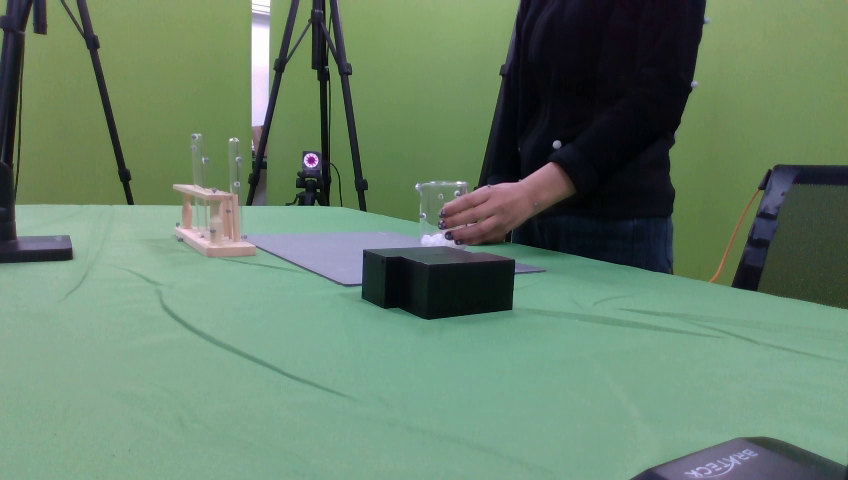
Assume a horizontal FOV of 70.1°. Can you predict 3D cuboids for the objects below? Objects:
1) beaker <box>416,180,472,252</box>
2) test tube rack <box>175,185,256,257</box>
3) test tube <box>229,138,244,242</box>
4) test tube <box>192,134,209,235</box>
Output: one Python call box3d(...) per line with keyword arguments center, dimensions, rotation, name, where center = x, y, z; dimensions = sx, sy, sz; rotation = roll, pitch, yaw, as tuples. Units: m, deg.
box3d(center=(0.028, -0.035, 0.874), dimensions=(0.084, 0.100, 0.073), rotation=(-4, 9, -23), name="beaker")
box3d(center=(-0.324, -0.035, 0.922), dimensions=(0.067, 0.085, 0.241), rotation=(-2, 9, -31), name="test tube rack")
box3d(center=(-0.269, -0.071, 0.867), dimensions=(0.017, 0.150, 0.017), rotation=(0, 9, 0), name="test tube")
box3d(center=(-0.332, -0.082, 0.898), dimensions=(0.017, 0.150, 0.017), rotation=(-2, 6, 0), name="test tube")
